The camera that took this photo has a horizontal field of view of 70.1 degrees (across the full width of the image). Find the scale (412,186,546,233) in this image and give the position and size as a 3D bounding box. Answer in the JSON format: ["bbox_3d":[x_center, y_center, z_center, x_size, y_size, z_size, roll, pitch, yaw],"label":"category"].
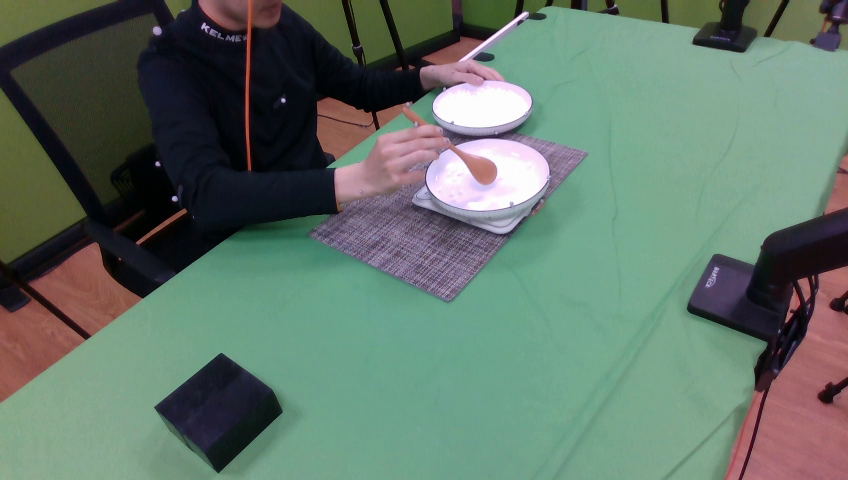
[{"bbox_3d":[0.093,-0.083,1.039,0.199,0.032,0.149,22,48,30],"label":"scale"}]

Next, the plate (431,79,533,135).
[{"bbox_3d":[0.120,-0.271,1.249,0.209,0.038,0.208,-4,40,4],"label":"plate"}]

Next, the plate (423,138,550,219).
[{"bbox_3d":[0.104,-0.099,1.005,0.207,0.039,0.206,-4,41,4],"label":"plate"}]

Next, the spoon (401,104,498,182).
[{"bbox_3d":[0.041,-0.150,0.938,0.041,0.195,0.021,-57,19,2],"label":"spoon"}]
